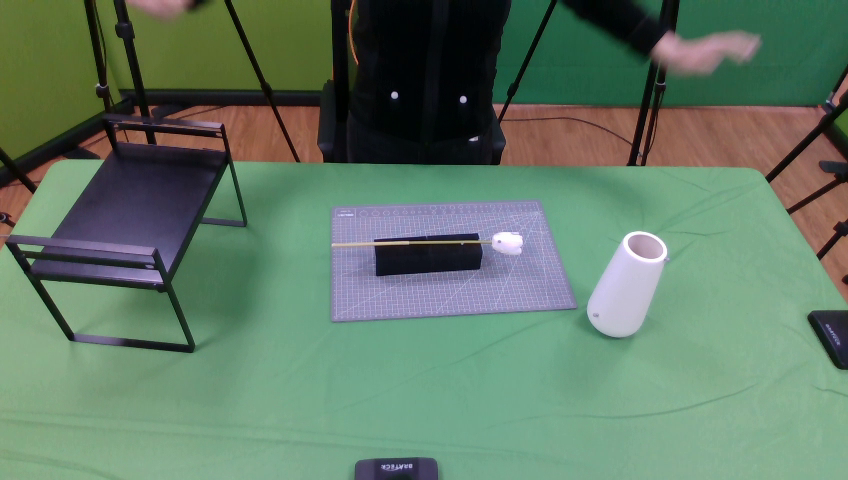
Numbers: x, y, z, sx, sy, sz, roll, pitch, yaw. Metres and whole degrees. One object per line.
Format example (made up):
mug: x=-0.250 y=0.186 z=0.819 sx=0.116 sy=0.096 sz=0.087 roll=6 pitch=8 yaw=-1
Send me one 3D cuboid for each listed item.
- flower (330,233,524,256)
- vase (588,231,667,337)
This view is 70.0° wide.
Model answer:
flower: x=0.009 y=0.002 z=1.126 sx=0.362 sy=0.038 sz=0.044 roll=2 pitch=80 yaw=-7
vase: x=0.343 y=0.078 z=1.023 sx=0.098 sy=0.201 sz=0.097 roll=2 pitch=47 yaw=-2
